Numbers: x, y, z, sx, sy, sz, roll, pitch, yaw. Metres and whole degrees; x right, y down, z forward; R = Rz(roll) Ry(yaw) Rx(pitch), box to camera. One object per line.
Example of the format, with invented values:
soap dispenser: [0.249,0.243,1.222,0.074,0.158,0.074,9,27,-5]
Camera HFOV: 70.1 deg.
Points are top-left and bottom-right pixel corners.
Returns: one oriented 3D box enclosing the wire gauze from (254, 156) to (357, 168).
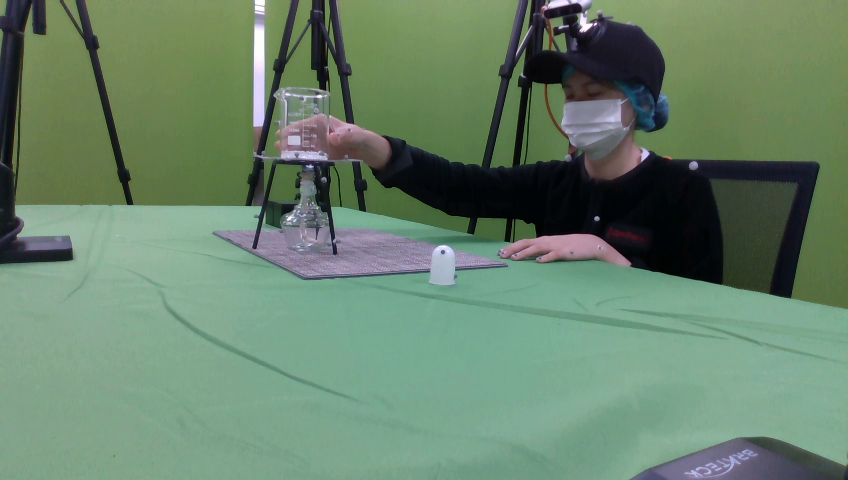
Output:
wire gauze: [-0.172,-0.117,0.891,0.122,0.011,0.124,-1,3,-38]

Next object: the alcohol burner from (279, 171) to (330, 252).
alcohol burner: [-0.174,-0.043,0.896,0.078,0.119,0.078,3,5,0]

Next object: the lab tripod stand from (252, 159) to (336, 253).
lab tripod stand: [-0.180,-0.053,0.900,0.148,0.131,0.148,1,6,0]

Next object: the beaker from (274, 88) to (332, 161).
beaker: [-0.177,-0.165,0.879,0.084,0.100,0.074,1,5,1]

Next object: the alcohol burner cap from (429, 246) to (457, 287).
alcohol burner cap: [0.024,0.030,0.705,0.034,0.048,0.034,2,6,0]
